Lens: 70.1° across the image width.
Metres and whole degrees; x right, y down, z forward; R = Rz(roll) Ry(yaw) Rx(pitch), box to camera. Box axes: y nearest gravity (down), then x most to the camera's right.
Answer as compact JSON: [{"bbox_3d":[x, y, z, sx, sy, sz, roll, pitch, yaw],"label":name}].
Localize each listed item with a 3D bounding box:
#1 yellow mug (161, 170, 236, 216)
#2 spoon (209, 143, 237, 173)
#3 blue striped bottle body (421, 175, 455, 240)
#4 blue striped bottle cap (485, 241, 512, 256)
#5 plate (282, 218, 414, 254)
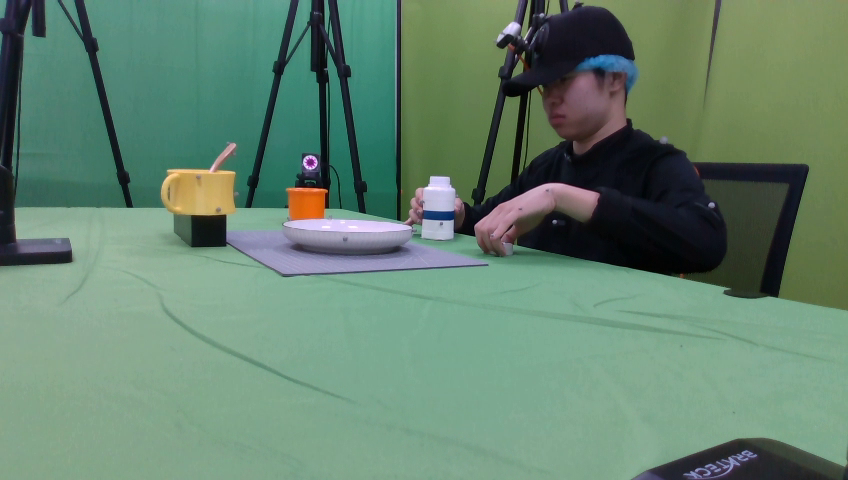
[{"bbox_3d":[-0.354,-0.074,0.935,0.099,0.064,0.131,5,9,21],"label":"yellow mug"},{"bbox_3d":[-0.341,-0.113,0.990,0.041,0.021,0.193,1,39,6],"label":"spoon"},{"bbox_3d":[0.027,-0.063,1.157,0.063,0.120,0.063,2,7,0],"label":"blue striped bottle body"},{"bbox_3d":[0.124,0.014,1.001,0.044,0.020,0.044,6,7,0],"label":"blue striped bottle cap"},{"bbox_3d":[-0.121,-0.007,0.971,0.208,0.039,0.207,2,7,0],"label":"plate"}]
